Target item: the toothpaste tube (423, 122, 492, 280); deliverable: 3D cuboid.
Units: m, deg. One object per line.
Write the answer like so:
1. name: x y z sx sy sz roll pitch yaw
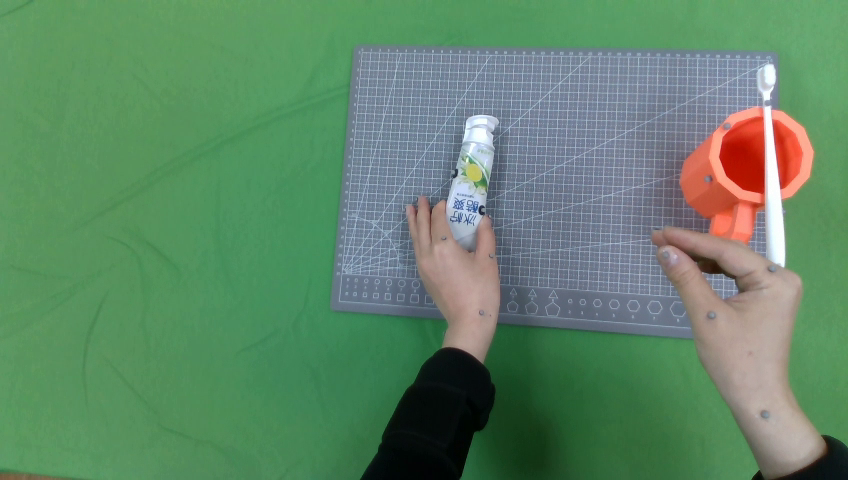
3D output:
1. toothpaste tube: 0.040 -0.044 0.631 0.055 0.035 0.165 10 85 14

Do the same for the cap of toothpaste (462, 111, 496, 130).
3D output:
1. cap of toothpaste: 0.058 -0.124 0.637 0.037 0.037 0.011 -2 76 7

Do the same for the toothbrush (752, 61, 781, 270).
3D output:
1. toothbrush: 0.293 -0.065 0.515 0.014 0.017 0.181 0 83 4

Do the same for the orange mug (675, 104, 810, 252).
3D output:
1. orange mug: 0.290 -0.053 0.567 0.083 0.101 0.126 12 80 9
